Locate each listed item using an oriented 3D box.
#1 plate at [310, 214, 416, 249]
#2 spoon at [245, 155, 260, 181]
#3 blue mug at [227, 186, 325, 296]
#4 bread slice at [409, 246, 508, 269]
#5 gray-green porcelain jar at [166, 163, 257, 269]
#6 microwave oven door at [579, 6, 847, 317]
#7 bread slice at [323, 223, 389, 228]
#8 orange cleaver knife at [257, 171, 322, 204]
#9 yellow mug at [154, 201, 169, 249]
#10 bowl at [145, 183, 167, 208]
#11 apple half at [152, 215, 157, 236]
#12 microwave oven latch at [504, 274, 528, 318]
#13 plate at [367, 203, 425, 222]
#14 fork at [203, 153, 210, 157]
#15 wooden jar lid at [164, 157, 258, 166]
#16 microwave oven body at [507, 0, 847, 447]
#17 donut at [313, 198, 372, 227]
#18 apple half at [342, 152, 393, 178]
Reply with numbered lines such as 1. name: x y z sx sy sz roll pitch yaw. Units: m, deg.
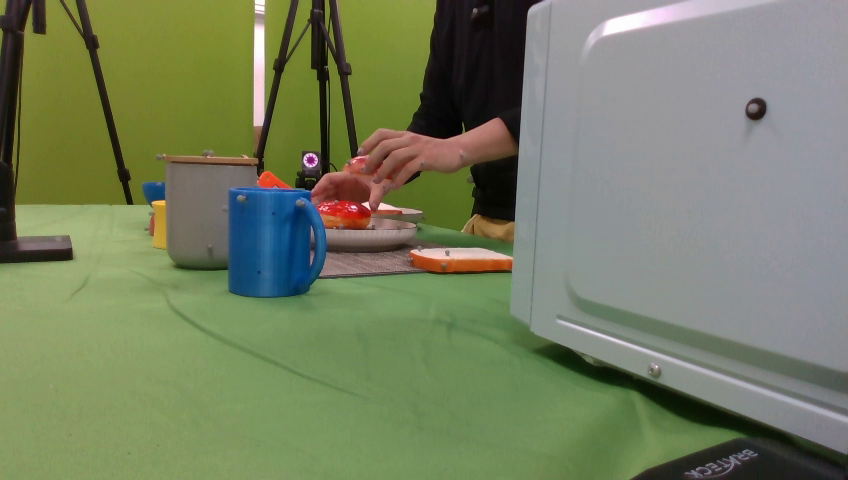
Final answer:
1. plate: -0.116 -0.014 0.968 0.208 0.039 0.207 2 8 0
2. spoon: -0.421 -0.150 1.540 0.042 0.021 0.193 -5 55 -37
3. blue mug: -0.147 0.000 0.618 0.116 0.106 0.083 7 9 32
4. bread slice: 0.048 0.021 0.816 0.132 0.019 0.104 0 7 -24
5. gray-green porcelain jar: -0.263 -0.031 0.754 0.106 0.126 0.106 2 7 0
6. microwave oven door: 0.294 -0.067 0.570 0.358 0.243 0.039 -3 9 -31
7. bread slice: -0.120 -0.015 0.971 0.106 0.018 0.135 9 9 42
8. orange cleaver knife: -0.283 -0.087 1.343 0.212 0.077 0.012 24 -16 -41
9. yellow mug: -0.337 -0.022 0.899 0.130 0.064 0.100 8 9 34
10. bowl: -0.459 -0.068 1.175 0.151 0.077 0.151 2 7 0
11. apple half: -0.415 -0.034 1.017 0.081 0.053 0.074 1 10 -8
12. microwave oven latch: 0.100 0.041 0.471 0.079 0.029 0.030 -1 8 -28
13. plate: -0.102 -0.053 1.299 0.209 0.038 0.209 2 8 0
14. fork: -0.480 -0.136 1.411 0.028 0.018 0.207 0 -34 -1
15. wooden jar lid: -0.261 -0.093 0.746 0.108 0.020 0.108 1 9 0
16. microwave oven body: 0.331 -0.042 0.425 0.444 0.260 0.324 -2 8 -31
17. donut: -0.131 -0.042 0.959 0.099 0.048 0.099 0 6 0
18. apple half: -0.081 -0.114 0.905 0.081 0.033 0.081 11 4 0
